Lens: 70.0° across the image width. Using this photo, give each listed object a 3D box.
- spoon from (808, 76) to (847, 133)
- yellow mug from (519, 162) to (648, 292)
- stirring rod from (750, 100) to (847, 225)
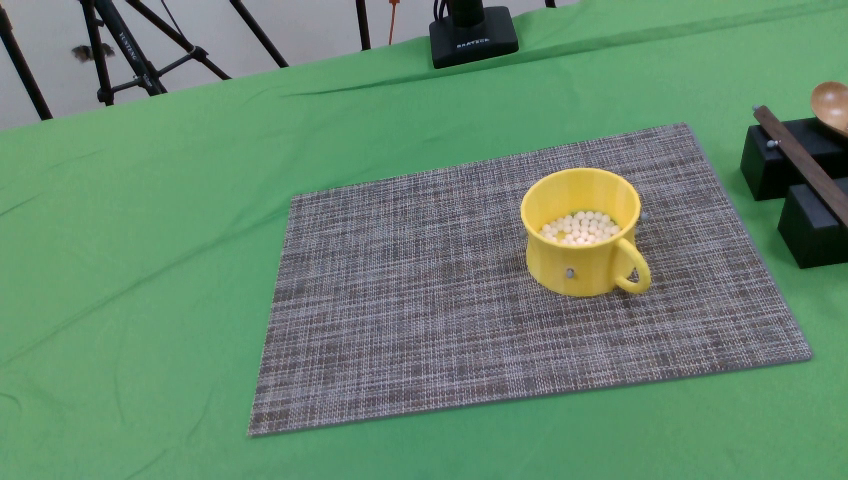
[{"bbox_3d":[0.371,-0.071,0.496,0.041,0.022,0.191,-8,48,6],"label":"spoon"},{"bbox_3d":[0.146,-0.005,0.530,0.100,0.064,0.129,-33,49,-14],"label":"yellow mug"},{"bbox_3d":[0.321,-0.066,0.509,0.014,0.006,0.174,-42,37,30],"label":"stirring rod"}]
